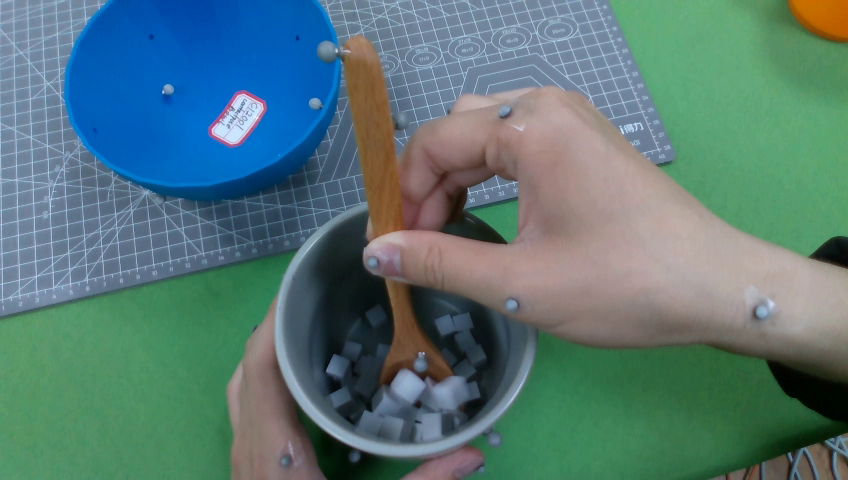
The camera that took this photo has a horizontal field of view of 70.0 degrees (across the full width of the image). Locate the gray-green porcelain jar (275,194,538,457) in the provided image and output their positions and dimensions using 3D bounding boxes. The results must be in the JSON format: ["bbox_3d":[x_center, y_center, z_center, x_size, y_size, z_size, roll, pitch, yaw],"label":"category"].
[{"bbox_3d":[-0.007,0.051,0.297,0.106,0.127,0.105,0,70,0],"label":"gray-green porcelain jar"}]

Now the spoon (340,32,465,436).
[{"bbox_3d":[-0.009,0.016,0.241,0.041,0.195,0.021,1,41,10],"label":"spoon"}]

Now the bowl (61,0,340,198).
[{"bbox_3d":[-0.121,-0.084,0.366,0.151,0.077,0.150,0,70,0],"label":"bowl"}]
